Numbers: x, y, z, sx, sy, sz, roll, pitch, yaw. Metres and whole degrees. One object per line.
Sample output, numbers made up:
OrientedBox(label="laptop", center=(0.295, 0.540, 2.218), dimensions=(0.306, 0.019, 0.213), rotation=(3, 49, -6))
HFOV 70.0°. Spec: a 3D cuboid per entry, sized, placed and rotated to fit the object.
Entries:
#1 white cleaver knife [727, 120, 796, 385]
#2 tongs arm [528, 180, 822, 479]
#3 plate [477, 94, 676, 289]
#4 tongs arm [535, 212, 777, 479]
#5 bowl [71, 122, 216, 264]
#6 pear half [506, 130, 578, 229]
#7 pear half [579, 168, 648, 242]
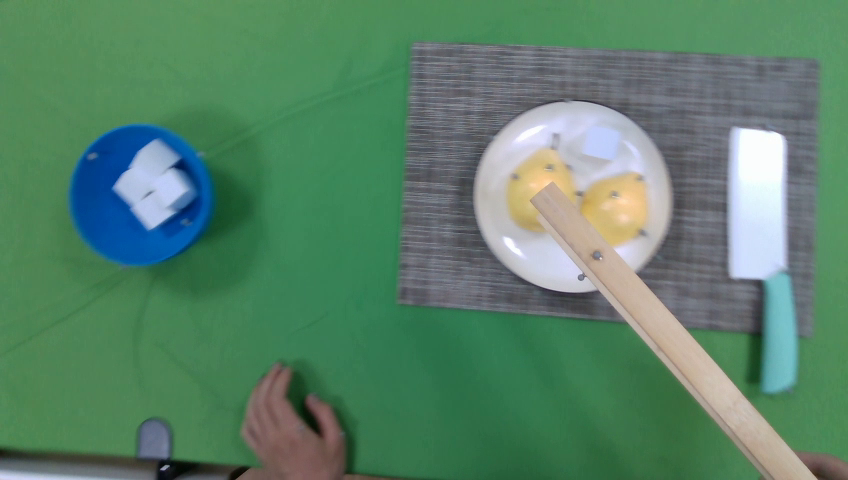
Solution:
OrientedBox(label="white cleaver knife", center=(0.362, 0.011, 0.654), dimensions=(0.066, 0.021, 0.285), rotation=(0, 84, 13))
OrientedBox(label="tongs arm", center=(0.217, 0.104, 0.468), dimensions=(0.028, 0.028, 0.386), rotation=(-41, 83, 3))
OrientedBox(label="plate", center=(0.162, -0.051, 0.656), dimensions=(0.207, 0.039, 0.207), rotation=(0, 88, 4))
OrientedBox(label="tongs arm", center=(0.229, 0.108, 0.519), dimensions=(0.026, 0.051, 0.383), rotation=(-41, 79, 6))
OrientedBox(label="bowl", center=(-0.293, -0.047, 0.669), dimensions=(0.151, 0.077, 0.151), rotation=(0, 88, 4))
OrientedBox(label="pear half", center=(0.130, -0.070, 0.645), dimensions=(0.076, 0.056, 0.109), rotation=(14, 84, 0))
OrientedBox(label="pear half", center=(0.208, -0.040, 0.648), dimensions=(0.070, 0.031, 0.088), rotation=(36, 96, 1))
